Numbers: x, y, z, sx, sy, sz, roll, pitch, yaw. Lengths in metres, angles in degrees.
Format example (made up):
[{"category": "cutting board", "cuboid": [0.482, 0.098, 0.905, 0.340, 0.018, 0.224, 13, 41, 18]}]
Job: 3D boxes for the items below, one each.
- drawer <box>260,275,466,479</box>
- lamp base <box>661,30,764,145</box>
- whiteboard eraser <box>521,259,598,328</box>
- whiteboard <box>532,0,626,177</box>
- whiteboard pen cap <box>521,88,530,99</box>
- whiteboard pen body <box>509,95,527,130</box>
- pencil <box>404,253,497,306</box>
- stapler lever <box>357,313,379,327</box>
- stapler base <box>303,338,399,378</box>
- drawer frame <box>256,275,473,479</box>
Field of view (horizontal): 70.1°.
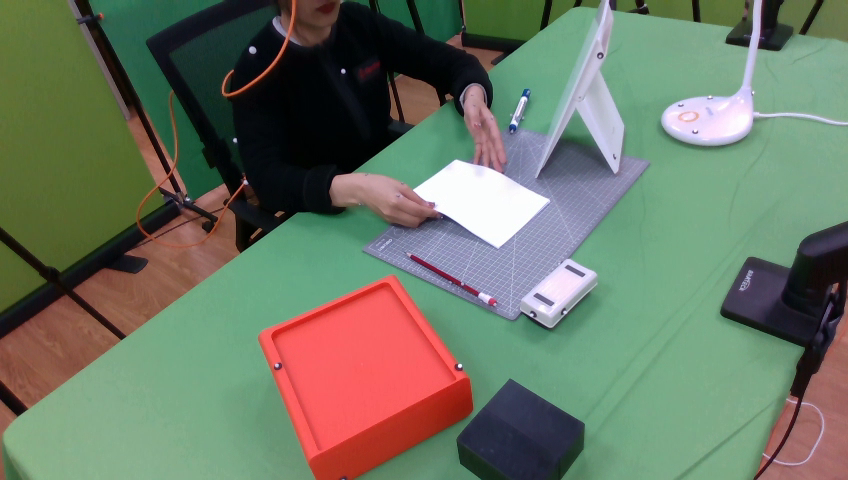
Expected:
[{"category": "drawer", "cuboid": [-0.080, 0.162, 0.760, 0.195, 0.073, 0.210, -22, 42, -16]}, {"category": "lamp base", "cuboid": [0.535, -0.287, 1.096, 0.179, 0.181, 0.159, -10, 40, -4]}, {"category": "whiteboard eraser", "cuboid": [0.189, 0.076, 0.843, 0.055, 0.042, 0.113, 29, 53, 37]}, {"category": "whiteboard", "cuboid": [0.321, -0.258, 1.050, 0.144, 0.306, 0.217, 21, 45, 5]}, {"category": "whiteboard pen cap", "cuboid": [0.219, -0.312, 1.301, 0.018, 0.018, 0.033, 6, 47, 17]}, {"category": "whiteboard pen body", "cuboid": [0.199, -0.273, 1.262, 0.017, 0.017, 0.140, 8, 44, 19]}, {"category": "pencil", "cuboid": [0.035, 0.056, 0.915, 0.192, 0.012, 0.012, 27, 52, 38]}, {"category": "stapler lever", "cuboid": [-0.107, 0.127, 0.793, 0.118, 0.040, 0.026, -15, 25, 2]}, {"category": "stapler base", "cuboid": [-0.099, 0.150, 0.805, 0.130, 0.024, 0.041, -14, 24, 2]}, {"category": "drawer frame", "cuboid": [-0.078, 0.163, 0.756, 0.202, 0.083, 0.211, -23, 43, -17]}]
